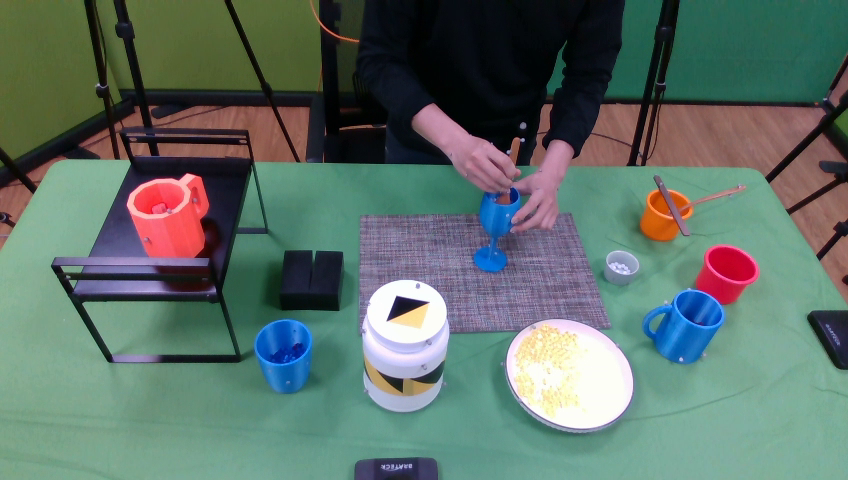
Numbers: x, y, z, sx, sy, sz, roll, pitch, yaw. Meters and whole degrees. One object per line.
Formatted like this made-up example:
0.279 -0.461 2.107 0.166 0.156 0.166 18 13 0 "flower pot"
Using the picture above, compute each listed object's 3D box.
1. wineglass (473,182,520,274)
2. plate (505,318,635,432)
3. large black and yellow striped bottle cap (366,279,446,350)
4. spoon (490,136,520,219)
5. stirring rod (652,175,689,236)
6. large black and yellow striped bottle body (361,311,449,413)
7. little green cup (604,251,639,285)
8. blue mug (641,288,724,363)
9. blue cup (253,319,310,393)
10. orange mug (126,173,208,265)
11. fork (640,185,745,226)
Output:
0.132 -0.022 1.117 0.074 0.173 0.073 2 46 -2 "wineglass"
0.235 0.221 0.991 0.209 0.038 0.208 2 45 -2 "plate"
-0.025 0.104 0.864 0.115 0.019 0.114 3 48 -3 "large black and yellow striped bottle cap"
0.143 -0.102 1.038 0.041 0.194 0.021 19 47 13 "spoon"
0.491 -0.072 1.212 0.014 0.006 0.175 -1 47 -5 "stirring rod"
-0.031 0.163 0.924 0.131 0.185 0.130 2 46 -2 "large black and yellow striped bottle body"
0.375 0.055 1.161 0.061 0.039 0.061 3 46 -2 "little green cup"
0.432 0.144 1.033 0.116 0.106 0.082 8 46 5 "blue mug"
-0.217 0.187 0.943 0.093 0.101 0.092 3 45 -3 "blue cup"
-0.371 -0.039 0.902 0.083 0.101 0.126 18 52 13 "orange mug"
0.534 -0.069 1.215 0.207 0.019 0.028 -26 27 33 "fork"
